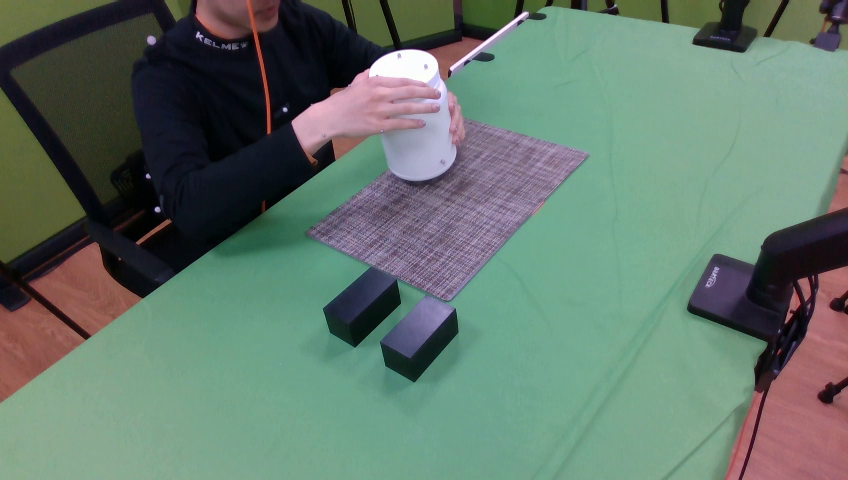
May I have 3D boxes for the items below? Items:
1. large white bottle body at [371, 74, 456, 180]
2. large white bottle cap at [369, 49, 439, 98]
[{"bbox_3d":[-0.018,-0.211,1.047,0.130,0.185,0.130,-6,46,7],"label":"large white bottle body"},{"bbox_3d":[-0.033,-0.272,0.983,0.115,0.018,0.114,-5,49,6],"label":"large white bottle cap"}]
